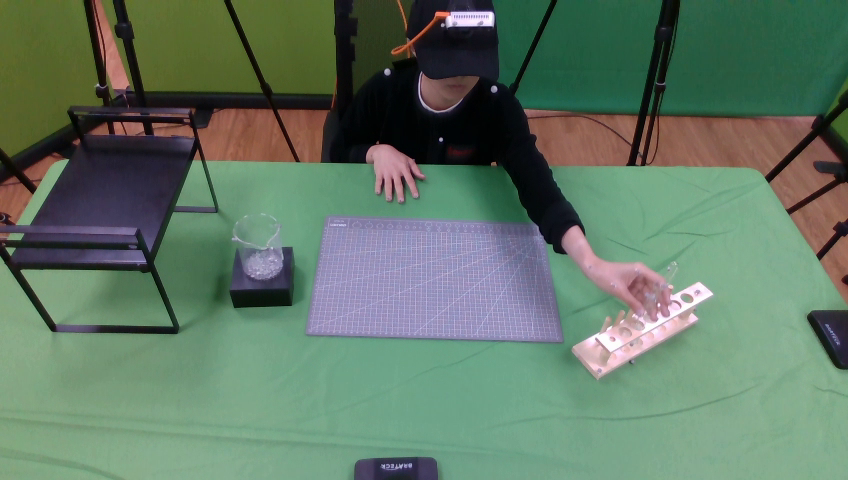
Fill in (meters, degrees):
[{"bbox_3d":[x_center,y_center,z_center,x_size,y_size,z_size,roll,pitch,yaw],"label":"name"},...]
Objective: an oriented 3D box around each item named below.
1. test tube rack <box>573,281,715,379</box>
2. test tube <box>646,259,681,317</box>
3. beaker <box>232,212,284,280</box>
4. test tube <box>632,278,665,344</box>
[{"bbox_3d":[0.378,0.140,1.038,0.242,0.085,0.066,-22,51,-23],"label":"test tube rack"},{"bbox_3d":[0.406,0.084,1.033,0.017,0.151,0.017,2,48,-2],"label":"test tube"},{"bbox_3d":[-0.280,0.016,1.037,0.074,0.101,0.083,-19,50,-20],"label":"beaker"},{"bbox_3d":[0.352,0.115,0.957,0.017,0.151,0.017,1,44,0],"label":"test tube"}]
